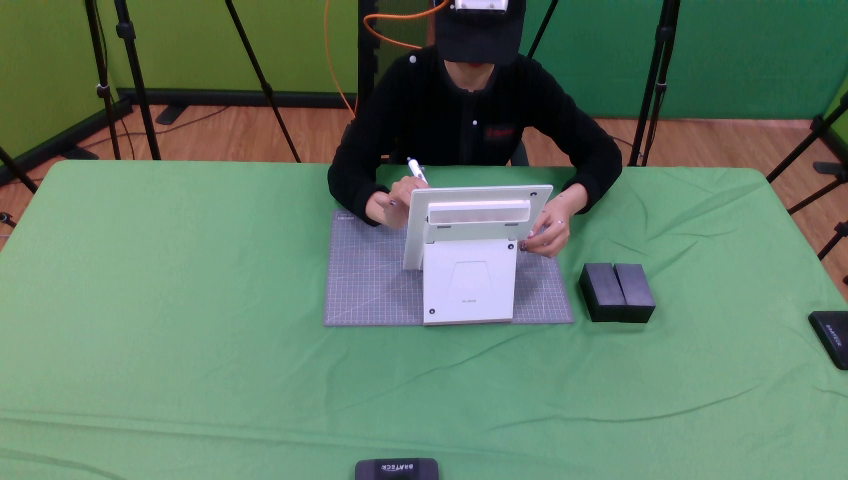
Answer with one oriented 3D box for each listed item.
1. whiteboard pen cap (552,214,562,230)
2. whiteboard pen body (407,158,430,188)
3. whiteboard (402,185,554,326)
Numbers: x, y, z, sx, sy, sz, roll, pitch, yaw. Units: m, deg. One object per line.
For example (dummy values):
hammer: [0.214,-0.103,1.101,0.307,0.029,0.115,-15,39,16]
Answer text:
whiteboard pen cap: [0.276,-0.037,1.260,0.018,0.018,0.033,2,43,-2]
whiteboard pen body: [0.000,-0.091,1.007,0.017,0.017,0.140,-13,48,-15]
whiteboard: [0.081,0.044,1.005,0.217,0.306,0.143,-1,66,-6]
